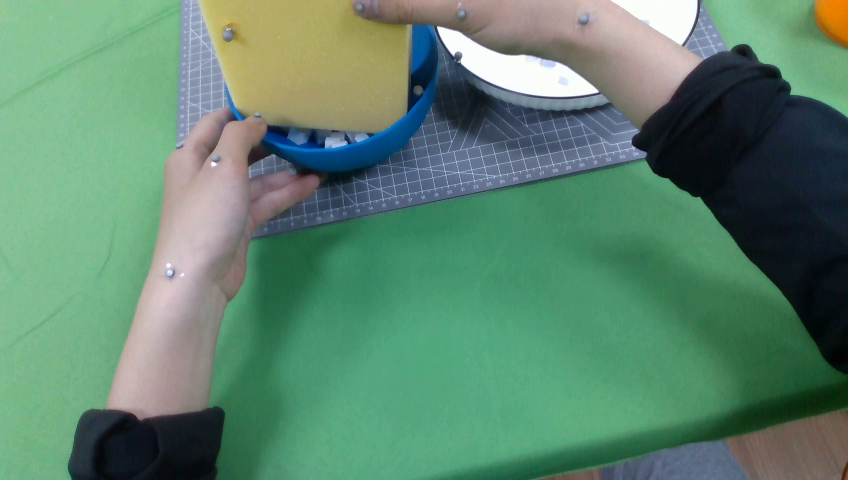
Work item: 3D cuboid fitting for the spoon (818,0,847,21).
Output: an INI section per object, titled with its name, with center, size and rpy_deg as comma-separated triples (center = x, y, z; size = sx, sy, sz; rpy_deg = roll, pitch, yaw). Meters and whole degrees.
[spoon]
center = 0.377, -0.224, 0.420
size = 0.022, 0.194, 0.041
rpy_deg = 5, 59, -41

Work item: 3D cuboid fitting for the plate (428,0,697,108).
[plate]
center = 0.107, -0.188, 0.493
size = 0.209, 0.038, 0.207
rpy_deg = -3, 64, 6

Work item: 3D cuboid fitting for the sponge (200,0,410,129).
[sponge]
center = -0.066, -0.157, 0.350
size = 0.118, 0.208, 0.060
rpy_deg = 3, 60, -1

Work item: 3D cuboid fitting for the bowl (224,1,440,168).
[bowl]
center = -0.061, -0.108, 0.451
size = 0.151, 0.077, 0.150
rpy_deg = -2, 64, 4
